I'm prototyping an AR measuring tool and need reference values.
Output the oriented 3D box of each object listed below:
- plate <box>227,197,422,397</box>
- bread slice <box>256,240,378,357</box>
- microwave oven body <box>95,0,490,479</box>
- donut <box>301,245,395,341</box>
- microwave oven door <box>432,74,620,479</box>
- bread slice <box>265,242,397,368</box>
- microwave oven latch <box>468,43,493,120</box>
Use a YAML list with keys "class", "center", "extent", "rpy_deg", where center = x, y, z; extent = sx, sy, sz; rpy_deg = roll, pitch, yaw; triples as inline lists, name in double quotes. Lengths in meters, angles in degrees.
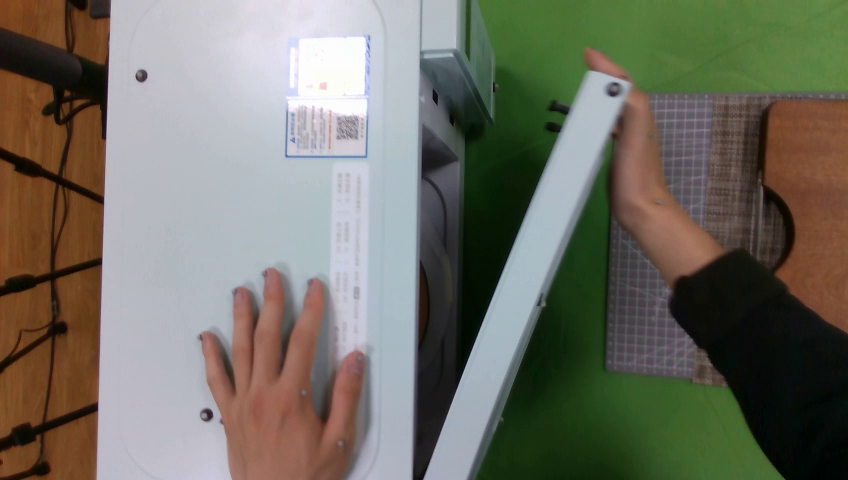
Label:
- class: "plate"
  center: [-0.103, 0.060, 0.641]
  extent: [0.207, 0.039, 0.207]
  rpy_deg: [0, 89, 8]
- class: "bread slice"
  center: [-0.103, 0.055, 0.577]
  extent: [0.134, 0.018, 0.107]
  rpy_deg: [-1, 89, 24]
- class: "microwave oven body"
  center: [-0.110, -0.001, 0.594]
  extent: [0.325, 0.261, 0.441]
  rpy_deg: [1, 89, 12]
- class: "donut"
  center: [-0.078, 0.054, 0.614]
  extent: [0.099, 0.048, 0.099]
  rpy_deg: [-1, 85, 10]
- class: "microwave oven door"
  center: [0.087, 0.054, 0.545]
  extent: [0.039, 0.244, 0.356]
  rpy_deg: [21, 93, 13]
- class: "bread slice"
  center: [-0.107, 0.064, 0.645]
  extent: [0.131, 0.019, 0.105]
  rpy_deg: [23, 95, 10]
- class: "microwave oven latch"
  center: [0.060, -0.173, 0.659]
  extent: [0.030, 0.029, 0.079]
  rpy_deg: [3, 90, 12]
